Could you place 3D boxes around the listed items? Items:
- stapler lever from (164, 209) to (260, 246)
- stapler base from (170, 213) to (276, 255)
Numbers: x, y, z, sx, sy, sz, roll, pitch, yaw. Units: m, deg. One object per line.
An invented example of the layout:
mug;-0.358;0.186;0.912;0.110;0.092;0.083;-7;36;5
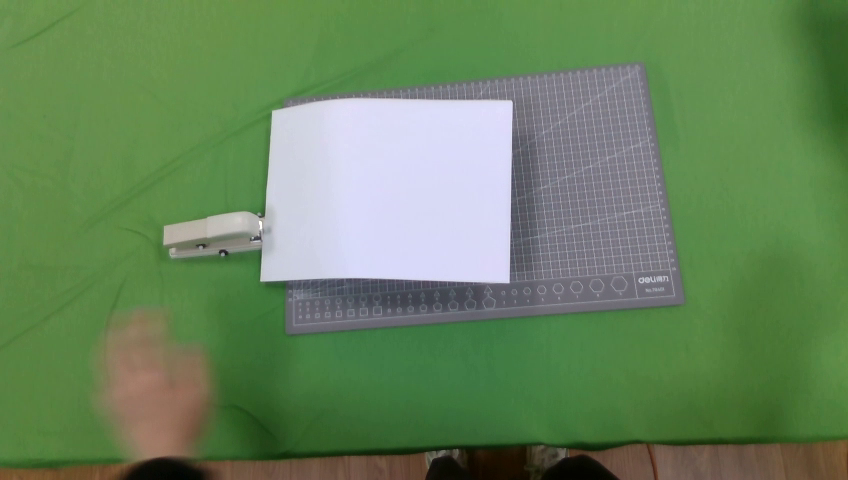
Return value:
stapler lever;-0.248;-0.014;0.700;0.118;0.040;0.026;-6;75;3
stapler base;-0.245;-0.009;0.724;0.130;0.024;0.041;-6;76;4
